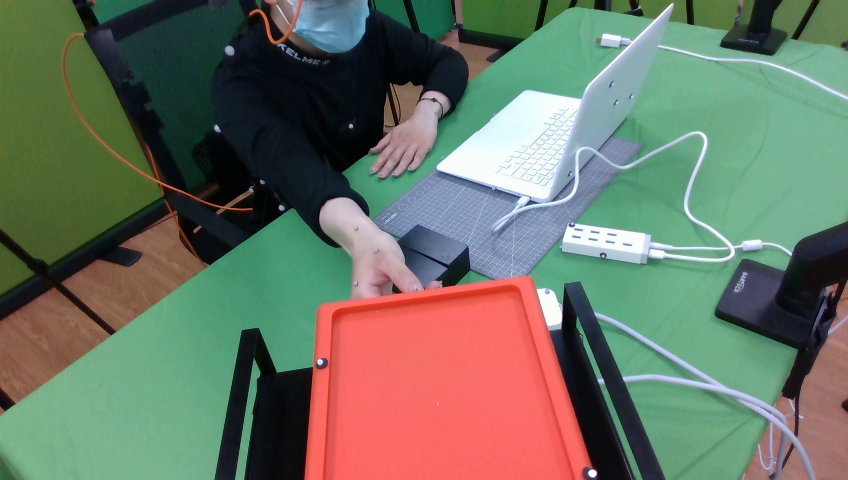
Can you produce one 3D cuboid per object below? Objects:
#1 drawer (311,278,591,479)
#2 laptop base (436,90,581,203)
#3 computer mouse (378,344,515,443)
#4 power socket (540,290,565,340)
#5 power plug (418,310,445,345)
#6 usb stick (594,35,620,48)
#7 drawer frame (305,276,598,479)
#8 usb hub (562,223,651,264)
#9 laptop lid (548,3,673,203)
[{"bbox_3d":[0.013,0.137,0.489,0.195,0.073,0.210,-7,41,0],"label":"drawer"},{"bbox_3d":[0.215,-0.192,1.172,0.233,0.023,0.355,19,46,32],"label":"laptop base"},{"bbox_3d":[0.018,0.126,0.521,0.116,0.041,0.063,13,47,30],"label":"computer mouse"},{"bbox_3d":[0.081,0.112,0.822,0.227,0.033,0.072,-6,41,0],"label":"power socket"},{"bbox_3d":[0.007,0.123,0.786,0.035,0.053,0.072,0,39,8],"label":"power plug"},{"bbox_3d":[0.444,-0.482,1.466,0.059,0.021,0.027,10,43,10],"label":"usb stick"},{"bbox_3d":[0.014,0.137,0.486,0.202,0.083,0.212,-8,41,-1],"label":"drawer frame"},{"bbox_3d":[0.279,0.005,0.926,0.124,0.025,0.049,10,43,19],"label":"usb hub"},{"bbox_3d":[0.320,-0.235,1.026,0.013,0.242,0.357,31,50,20],"label":"laptop lid"}]
